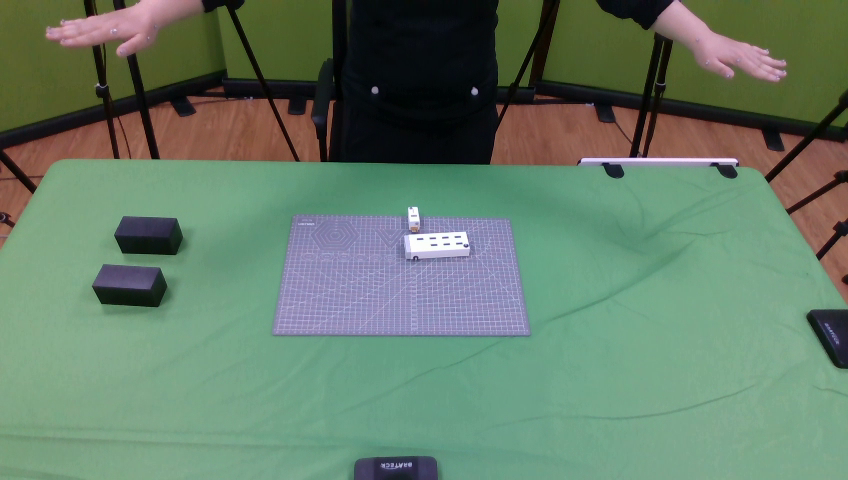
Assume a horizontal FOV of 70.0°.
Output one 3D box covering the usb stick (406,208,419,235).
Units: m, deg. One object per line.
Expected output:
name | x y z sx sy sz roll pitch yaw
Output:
usb stick | -0.023 -0.037 1.225 0.021 0.027 0.059 1 49 -8

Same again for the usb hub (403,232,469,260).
usb hub | 0.023 0.012 1.181 0.125 0.025 0.049 -3 46 -7
